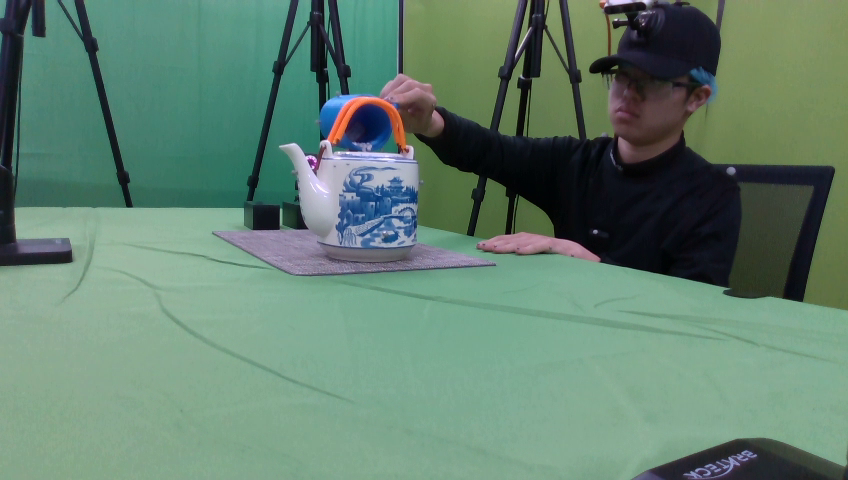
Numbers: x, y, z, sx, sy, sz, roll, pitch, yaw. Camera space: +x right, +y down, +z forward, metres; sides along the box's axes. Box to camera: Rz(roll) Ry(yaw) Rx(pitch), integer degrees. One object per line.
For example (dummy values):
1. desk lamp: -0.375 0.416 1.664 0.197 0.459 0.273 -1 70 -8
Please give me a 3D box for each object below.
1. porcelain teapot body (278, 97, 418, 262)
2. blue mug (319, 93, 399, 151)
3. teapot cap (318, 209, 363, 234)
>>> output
1. porcelain teapot body: -0.104 -0.086 0.842 0.206 0.225 0.144 -4 9 -38
2. blue mug: -0.093 -0.188 0.923 0.117 0.082 0.105 -32 23 -18
3. teapot cap: -0.158 -0.036 1.144 0.085 0.044 0.085 0 6 0
